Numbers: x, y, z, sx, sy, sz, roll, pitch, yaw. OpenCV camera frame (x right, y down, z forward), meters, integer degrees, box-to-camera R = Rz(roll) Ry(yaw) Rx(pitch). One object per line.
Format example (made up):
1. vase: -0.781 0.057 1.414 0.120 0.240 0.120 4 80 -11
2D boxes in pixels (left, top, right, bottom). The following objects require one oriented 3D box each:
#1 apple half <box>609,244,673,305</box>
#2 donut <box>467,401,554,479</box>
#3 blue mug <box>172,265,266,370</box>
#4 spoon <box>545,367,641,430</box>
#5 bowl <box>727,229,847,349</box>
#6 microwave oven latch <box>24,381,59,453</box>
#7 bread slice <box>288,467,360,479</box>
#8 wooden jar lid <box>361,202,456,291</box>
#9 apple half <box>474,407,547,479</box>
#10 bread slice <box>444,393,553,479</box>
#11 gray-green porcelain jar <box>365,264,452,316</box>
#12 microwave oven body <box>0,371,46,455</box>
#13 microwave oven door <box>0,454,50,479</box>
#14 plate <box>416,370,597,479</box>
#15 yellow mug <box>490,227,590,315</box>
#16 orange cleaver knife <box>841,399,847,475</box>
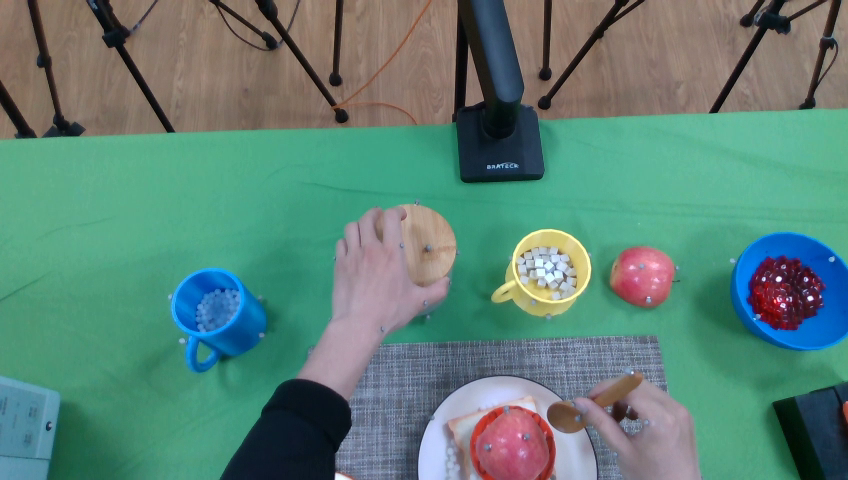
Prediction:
1. apple half: 0.286 0.039 0.791 0.074 0.054 0.080 18 70 9
2. donut: 0.098 0.233 0.687 0.099 0.048 0.098 0 68 0
3. blue mug: -0.252 0.101 0.733 0.082 0.106 0.116 18 70 6
4. spoon: 0.161 0.156 0.583 0.041 0.195 0.021 35 65 8
5. bowl: 0.449 0.070 0.766 0.151 0.077 0.150 0 69 0
6. microwave oven latch: -0.452 0.206 0.706 0.030 0.030 0.078 3 69 0
7. bread slice: -0.122 0.327 0.690 0.105 0.019 0.130 5 70 1
8. wooden jar lid: -0.018 0.009 0.694 0.108 0.021 0.107 0 67 1
9. apple half: 0.096 0.222 0.653 0.081 0.033 0.081 -2 70 6
10. bread slice: 0.097 0.258 0.710 0.107 0.018 0.133 -20 71 -6
11. gray-green porcelain jar: -0.018 0.032 0.752 0.106 0.127 0.105 0 68 0
12. microwave oven body: -0.593 0.339 0.550 0.326 0.262 0.438 -2 69 -1
13. microwave oven door: -0.445 0.372 0.533 0.039 0.245 0.353 -2 68 -1
14. plate: 0.094 0.259 0.708 0.208 0.039 0.206 0 69 0
15. yellow mug: 0.143 0.047 0.779 0.131 0.064 0.099 -25 71 -9
16. orange cleaver knife: 0.512 0.286 0.681 0.012 0.077 0.211 -11 91 -12
